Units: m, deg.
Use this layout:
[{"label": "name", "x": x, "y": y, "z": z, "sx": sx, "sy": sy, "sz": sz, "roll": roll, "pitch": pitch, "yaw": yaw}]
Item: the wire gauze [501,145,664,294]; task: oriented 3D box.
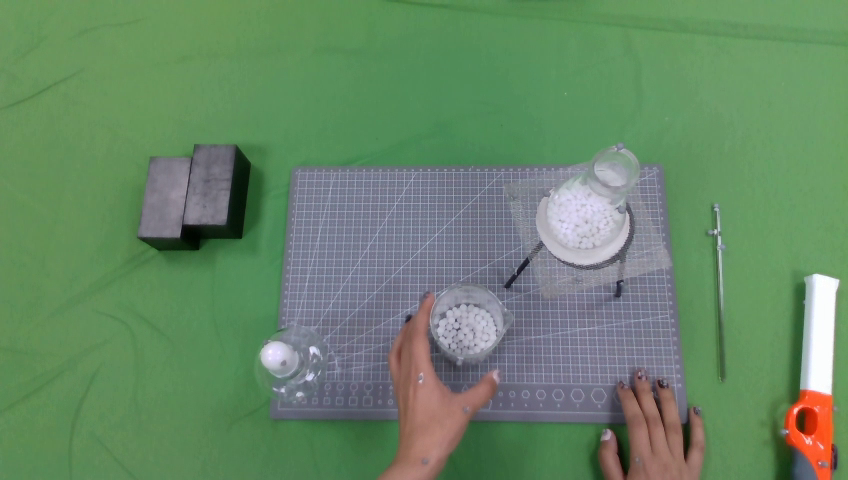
[{"label": "wire gauze", "x": 0.149, "y": -0.020, "z": 0.573, "sx": 0.125, "sy": 0.011, "sz": 0.121, "roll": -15, "pitch": 76, "yaw": -3}]

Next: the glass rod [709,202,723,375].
[{"label": "glass rod", "x": 0.328, "y": 0.051, "z": 0.681, "sx": 0.008, "sy": 0.008, "sz": 0.198, "roll": 4, "pitch": 74, "yaw": 4}]

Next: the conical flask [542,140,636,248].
[{"label": "conical flask", "x": 0.146, "y": -0.042, "z": 0.518, "sx": 0.075, "sy": 0.122, "sz": 0.075, "roll": -1, "pitch": 75, "yaw": 3}]

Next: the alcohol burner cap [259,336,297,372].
[{"label": "alcohol burner cap", "x": -0.144, "y": 0.109, "z": 0.591, "sx": 0.034, "sy": 0.048, "sz": 0.033, "roll": 1, "pitch": 72, "yaw": -2}]

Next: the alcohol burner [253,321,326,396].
[{"label": "alcohol burner", "x": -0.143, "y": 0.121, "z": 0.626, "sx": 0.078, "sy": 0.119, "sz": 0.077, "roll": 0, "pitch": 75, "yaw": 1}]

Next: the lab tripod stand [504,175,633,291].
[{"label": "lab tripod stand", "x": 0.154, "y": 0.001, "z": 0.636, "sx": 0.148, "sy": 0.132, "sz": 0.147, "roll": -1, "pitch": 75, "yaw": 3}]

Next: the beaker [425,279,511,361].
[{"label": "beaker", "x": 0.045, "y": 0.087, "z": 0.634, "sx": 0.084, "sy": 0.101, "sz": 0.073, "roll": -5, "pitch": 73, "yaw": 1}]

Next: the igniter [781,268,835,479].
[{"label": "igniter", "x": 0.405, "y": 0.164, "z": 0.634, "sx": 0.057, "sy": 0.025, "sz": 0.275, "roll": 15, "pitch": 75, "yaw": -4}]
